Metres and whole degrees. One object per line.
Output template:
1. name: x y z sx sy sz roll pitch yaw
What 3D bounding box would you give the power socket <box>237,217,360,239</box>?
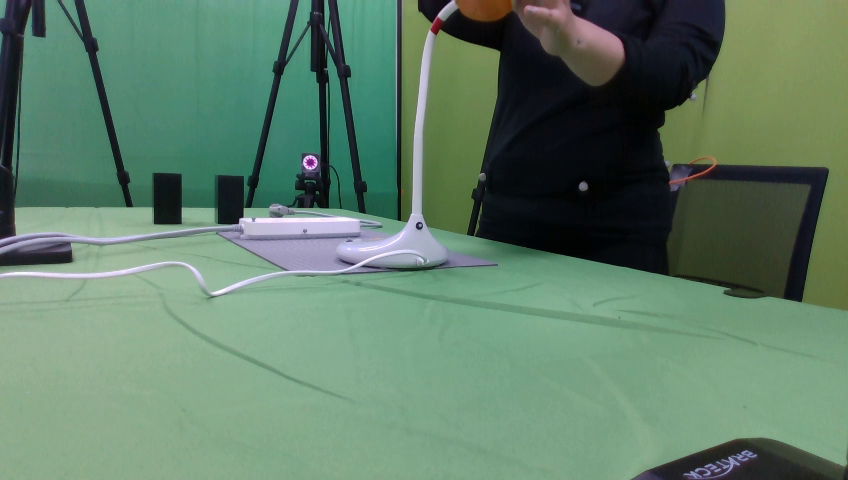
1. power socket: -0.221 -0.023 1.080 0.228 0.032 0.072 -2 8 -33

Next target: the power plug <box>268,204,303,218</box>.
1. power plug: -0.327 -0.060 1.404 0.073 0.035 0.052 22 -14 -26

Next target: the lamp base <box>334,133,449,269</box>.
1. lamp base: -0.034 -0.057 0.831 0.161 0.180 0.178 -2 12 -36

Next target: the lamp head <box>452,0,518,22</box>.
1. lamp head: 0.070 -0.317 0.700 0.112 0.122 0.112 7 -1 0
